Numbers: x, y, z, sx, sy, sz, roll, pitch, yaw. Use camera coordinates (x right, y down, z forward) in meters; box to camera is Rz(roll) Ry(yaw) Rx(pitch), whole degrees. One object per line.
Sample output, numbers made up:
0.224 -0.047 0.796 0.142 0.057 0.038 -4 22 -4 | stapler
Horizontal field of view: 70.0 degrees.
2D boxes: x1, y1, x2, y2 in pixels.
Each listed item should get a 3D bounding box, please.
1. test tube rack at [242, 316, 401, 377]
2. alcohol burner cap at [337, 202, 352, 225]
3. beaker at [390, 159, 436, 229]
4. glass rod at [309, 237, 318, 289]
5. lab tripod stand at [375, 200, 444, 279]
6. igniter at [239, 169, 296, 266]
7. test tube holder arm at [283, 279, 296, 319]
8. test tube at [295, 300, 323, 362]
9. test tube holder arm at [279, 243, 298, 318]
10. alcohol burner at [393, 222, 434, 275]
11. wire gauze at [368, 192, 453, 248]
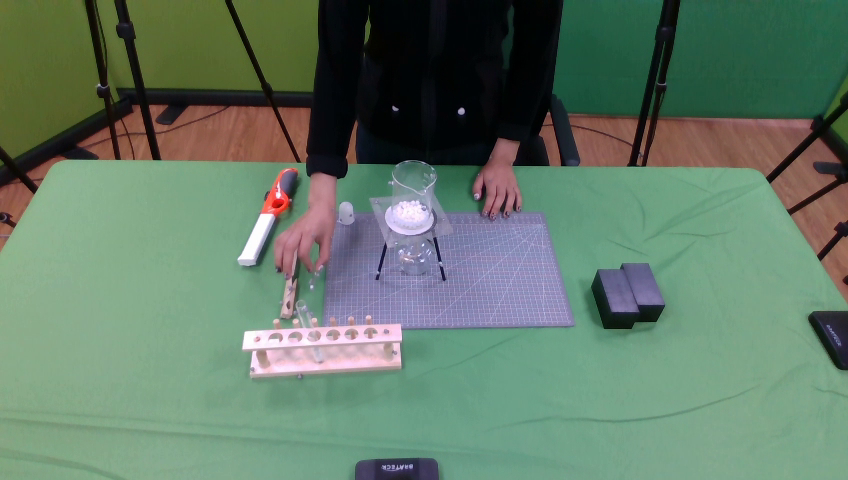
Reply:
-0.161 0.166 0.983 0.242 0.085 0.066 -2 46 -6 | test tube rack
-0.161 -0.056 1.223 0.034 0.048 0.033 2 46 -2 | alcohol burner cap
-0.020 -0.073 1.029 0.074 0.101 0.083 -10 48 -16 | beaker
-0.202 0.039 1.114 0.008 0.008 0.198 -2 26 -6 | glass rod
-0.023 0.003 1.114 0.148 0.132 0.147 4 45 -3 | lab tripod stand
-0.313 -0.054 1.224 0.057 0.025 0.275 1 45 10 | igniter
-0.241 0.103 1.085 0.010 0.015 0.087 26 38 -26 | test tube holder arm
-0.176 0.143 0.935 0.017 0.151 0.017 -2 46 2 | test tube
-0.248 0.070 1.114 0.013 0.015 0.177 25 38 -26 | test tube holder arm
-0.018 0.009 1.122 0.078 0.119 0.077 3 47 -3 | alcohol burner
-0.025 -0.041 1.065 0.122 0.011 0.124 -10 46 -18 | wire gauze
